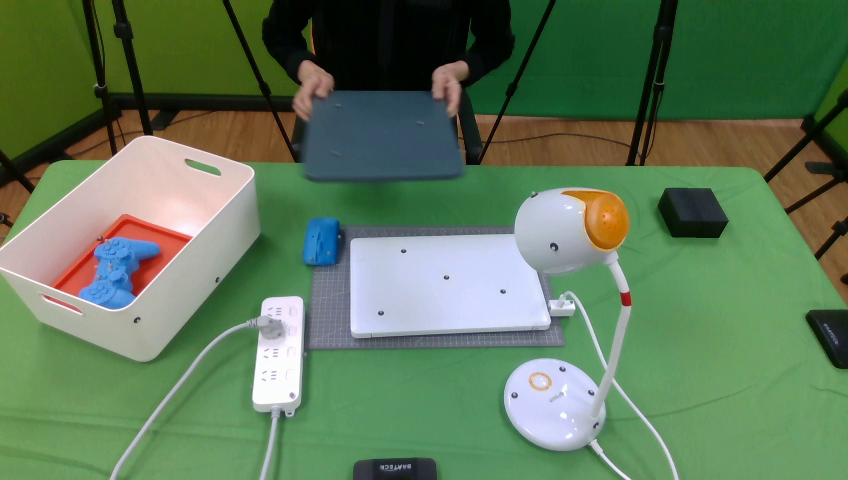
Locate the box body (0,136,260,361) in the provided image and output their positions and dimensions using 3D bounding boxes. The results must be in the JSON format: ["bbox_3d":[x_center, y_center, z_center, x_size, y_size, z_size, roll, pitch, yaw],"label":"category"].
[{"bbox_3d":[-0.483,0.006,1.056,0.254,0.161,0.362,17,47,12],"label":"box body"}]

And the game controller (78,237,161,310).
[{"bbox_3d":[-0.496,0.055,0.986,0.097,0.052,0.154,-4,47,-3],"label":"game controller"}]

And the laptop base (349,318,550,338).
[{"bbox_3d":[0.039,0.081,1.124,0.355,0.023,0.234,-2,43,-6],"label":"laptop base"}]

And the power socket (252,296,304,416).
[{"bbox_3d":[-0.238,0.182,0.997,0.072,0.033,0.225,-3,47,-5],"label":"power socket"}]

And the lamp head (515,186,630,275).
[{"bbox_3d":[0.188,-0.013,0.728,0.112,0.112,0.122,-25,9,-25],"label":"lamp head"}]

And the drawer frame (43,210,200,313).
[{"bbox_3d":[-0.488,0.067,1.042,0.201,0.083,0.212,15,53,13],"label":"drawer frame"}]

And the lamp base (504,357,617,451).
[{"bbox_3d":[0.220,0.211,0.903,0.160,0.181,0.178,-33,59,-30],"label":"lamp base"}]

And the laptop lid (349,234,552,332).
[{"bbox_3d":[0.040,0.072,1.117,0.357,0.013,0.240,0,44,-5],"label":"laptop lid"}]

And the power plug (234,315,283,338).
[{"bbox_3d":[-0.269,0.144,1.000,0.072,0.053,0.035,4,46,2],"label":"power plug"}]

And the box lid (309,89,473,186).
[{"bbox_3d":[-0.066,-0.194,1.087,0.263,0.015,0.369,-3,35,-6],"label":"box lid"}]

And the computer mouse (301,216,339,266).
[{"bbox_3d":[-0.199,-0.002,1.169,0.063,0.041,0.116,3,50,-3],"label":"computer mouse"}]

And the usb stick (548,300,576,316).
[{"bbox_3d":[0.239,0.121,1.083,0.059,0.027,0.021,-1,50,-2],"label":"usb stick"}]

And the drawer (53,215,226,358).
[{"bbox_3d":[-0.490,0.077,1.059,0.194,0.073,0.211,17,58,10],"label":"drawer"}]
